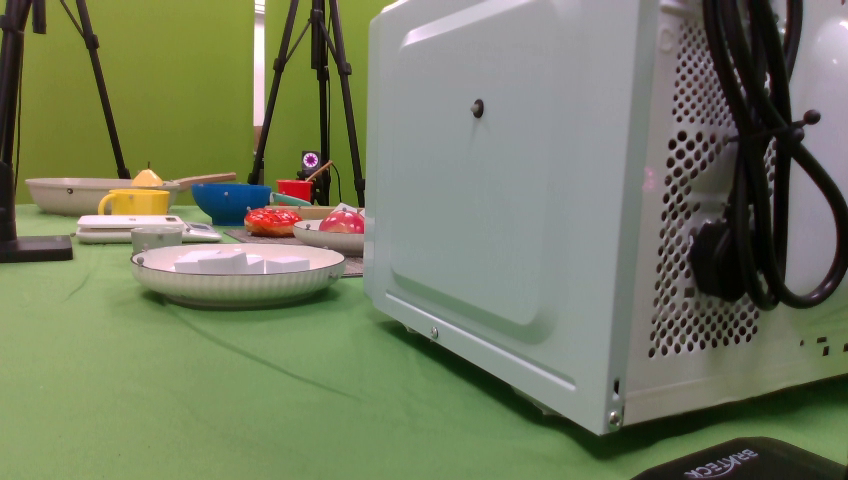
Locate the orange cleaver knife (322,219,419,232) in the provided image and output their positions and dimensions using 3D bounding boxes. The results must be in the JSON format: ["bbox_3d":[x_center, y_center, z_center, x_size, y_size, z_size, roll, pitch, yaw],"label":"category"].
[{"bbox_3d":[-0.097,-0.027,1.153,0.077,0.012,0.212,1,7,41],"label":"orange cleaver knife"}]

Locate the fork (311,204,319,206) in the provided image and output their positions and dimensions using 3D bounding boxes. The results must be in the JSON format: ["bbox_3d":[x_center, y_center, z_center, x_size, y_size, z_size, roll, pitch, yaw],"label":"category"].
[{"bbox_3d":[-0.356,-0.105,1.526,0.208,0.018,0.028,16,-5,-41],"label":"fork"}]

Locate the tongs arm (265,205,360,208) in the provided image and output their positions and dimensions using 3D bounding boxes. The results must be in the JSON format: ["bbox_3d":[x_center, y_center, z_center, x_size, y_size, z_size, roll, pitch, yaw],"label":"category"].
[{"bbox_3d":[-0.211,-0.067,1.439,0.389,0.027,0.028,1,-1,-17],"label":"tongs arm"}]

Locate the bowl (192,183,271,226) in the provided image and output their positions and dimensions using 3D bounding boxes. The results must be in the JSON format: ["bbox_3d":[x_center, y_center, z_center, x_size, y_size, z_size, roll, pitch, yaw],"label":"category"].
[{"bbox_3d":[-0.382,-0.071,1.202,0.151,0.077,0.151,3,7,0],"label":"bowl"}]

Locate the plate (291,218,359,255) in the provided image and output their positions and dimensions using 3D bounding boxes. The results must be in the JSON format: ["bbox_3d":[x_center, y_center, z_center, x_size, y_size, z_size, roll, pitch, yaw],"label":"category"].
[{"bbox_3d":[-0.098,-0.007,0.928,0.209,0.038,0.209,2,8,0],"label":"plate"}]

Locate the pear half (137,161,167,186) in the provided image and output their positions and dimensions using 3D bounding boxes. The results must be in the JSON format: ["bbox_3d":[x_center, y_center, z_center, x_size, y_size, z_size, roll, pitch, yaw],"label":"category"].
[{"bbox_3d":[-0.602,-0.120,1.354,0.056,0.110,0.076,4,11,6],"label":"pear half"}]

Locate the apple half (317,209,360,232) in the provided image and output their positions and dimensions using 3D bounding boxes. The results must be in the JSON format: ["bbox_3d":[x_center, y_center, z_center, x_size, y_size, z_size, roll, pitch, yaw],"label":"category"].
[{"bbox_3d":[-0.122,-0.020,0.900,0.080,0.053,0.075,4,10,14],"label":"apple half"}]

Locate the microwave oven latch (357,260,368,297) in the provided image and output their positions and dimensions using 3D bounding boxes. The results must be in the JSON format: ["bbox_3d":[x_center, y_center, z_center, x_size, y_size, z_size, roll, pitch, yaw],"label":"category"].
[{"bbox_3d":[-0.019,0.033,0.530,0.079,0.029,0.030,0,7,-26],"label":"microwave oven latch"}]

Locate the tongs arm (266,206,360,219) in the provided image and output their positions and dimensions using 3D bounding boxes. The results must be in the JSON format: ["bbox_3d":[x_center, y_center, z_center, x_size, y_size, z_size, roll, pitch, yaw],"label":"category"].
[{"bbox_3d":[-0.174,-0.060,1.363,0.387,0.026,0.050,-1,3,-32],"label":"tongs arm"}]

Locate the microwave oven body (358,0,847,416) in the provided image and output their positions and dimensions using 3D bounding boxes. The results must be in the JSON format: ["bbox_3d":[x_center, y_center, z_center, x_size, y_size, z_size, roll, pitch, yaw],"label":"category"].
[{"bbox_3d":[0.211,-0.047,0.475,0.444,0.260,0.324,-1,7,-28],"label":"microwave oven body"}]

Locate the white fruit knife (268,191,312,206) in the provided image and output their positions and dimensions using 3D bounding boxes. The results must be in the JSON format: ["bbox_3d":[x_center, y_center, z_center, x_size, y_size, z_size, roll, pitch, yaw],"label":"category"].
[{"bbox_3d":[-0.364,-0.105,1.464,0.208,0.027,0.016,15,0,-34],"label":"white fruit knife"}]

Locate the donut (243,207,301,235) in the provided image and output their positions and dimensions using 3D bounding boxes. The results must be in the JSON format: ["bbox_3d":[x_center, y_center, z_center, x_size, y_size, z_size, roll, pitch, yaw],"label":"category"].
[{"bbox_3d":[-0.261,-0.032,1.043,0.099,0.048,0.099,4,9,0],"label":"donut"}]

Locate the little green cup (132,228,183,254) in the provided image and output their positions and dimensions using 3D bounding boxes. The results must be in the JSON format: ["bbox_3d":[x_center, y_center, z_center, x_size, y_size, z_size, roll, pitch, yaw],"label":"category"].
[{"bbox_3d":[-0.342,0.006,0.779,0.061,0.038,0.061,2,8,0],"label":"little green cup"}]

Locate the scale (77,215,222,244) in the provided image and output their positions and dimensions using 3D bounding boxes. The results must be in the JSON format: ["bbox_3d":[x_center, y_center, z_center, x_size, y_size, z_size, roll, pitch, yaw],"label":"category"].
[{"bbox_3d":[-0.434,-0.019,0.963,0.202,0.031,0.148,-1,9,-27],"label":"scale"}]

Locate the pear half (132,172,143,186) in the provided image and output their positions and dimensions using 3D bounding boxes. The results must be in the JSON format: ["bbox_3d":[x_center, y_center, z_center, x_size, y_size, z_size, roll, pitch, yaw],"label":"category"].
[{"bbox_3d":[-0.638,-0.113,1.361,0.031,0.088,0.070,5,10,4],"label":"pear half"}]

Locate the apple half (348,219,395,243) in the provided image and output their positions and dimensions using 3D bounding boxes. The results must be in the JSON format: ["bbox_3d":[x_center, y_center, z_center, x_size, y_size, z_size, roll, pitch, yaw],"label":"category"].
[{"bbox_3d":[-0.083,-0.018,0.967,0.081,0.033,0.081,5,10,-1],"label":"apple half"}]

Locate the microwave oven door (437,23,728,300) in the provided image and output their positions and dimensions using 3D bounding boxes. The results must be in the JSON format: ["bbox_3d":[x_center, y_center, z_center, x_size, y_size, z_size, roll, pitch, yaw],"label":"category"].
[{"bbox_3d":[0.180,-0.072,0.621,0.358,0.243,0.039,-2,8,-29],"label":"microwave oven door"}]

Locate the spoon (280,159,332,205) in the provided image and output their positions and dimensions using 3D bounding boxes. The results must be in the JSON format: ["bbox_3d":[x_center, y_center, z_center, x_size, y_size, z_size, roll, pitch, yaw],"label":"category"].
[{"bbox_3d":[-0.317,-0.158,1.640,0.194,0.022,0.041,-50,30,-20],"label":"spoon"}]

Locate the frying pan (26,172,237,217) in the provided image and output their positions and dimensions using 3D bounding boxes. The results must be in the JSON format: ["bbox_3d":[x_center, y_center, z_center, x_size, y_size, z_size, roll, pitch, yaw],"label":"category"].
[{"bbox_3d":[-0.624,-0.118,1.387,0.305,0.102,0.490,8,17,32],"label":"frying pan"}]

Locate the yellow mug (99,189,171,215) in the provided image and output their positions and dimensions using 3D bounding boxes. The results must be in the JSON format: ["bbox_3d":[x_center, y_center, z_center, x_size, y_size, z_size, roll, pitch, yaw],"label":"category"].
[{"bbox_3d":[-0.519,-0.055,1.080,0.099,0.064,0.131,7,9,26],"label":"yellow mug"}]

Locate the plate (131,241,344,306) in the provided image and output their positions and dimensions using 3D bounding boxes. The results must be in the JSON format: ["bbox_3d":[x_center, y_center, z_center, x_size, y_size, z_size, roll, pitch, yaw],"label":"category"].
[{"bbox_3d":[-0.187,0.033,0.625,0.208,0.039,0.207,2,8,0],"label":"plate"}]
